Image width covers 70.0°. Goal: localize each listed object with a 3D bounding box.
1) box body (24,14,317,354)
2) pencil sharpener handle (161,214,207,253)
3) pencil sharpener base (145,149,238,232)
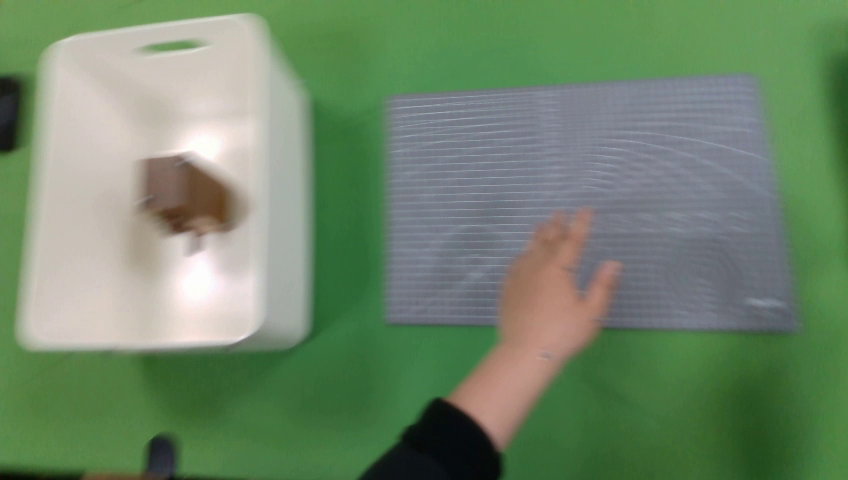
[{"bbox_3d":[-0.268,-0.050,0.705,0.254,0.161,0.362,-3,75,8],"label":"box body"},{"bbox_3d":[-0.276,-0.007,0.704,0.036,0.068,0.030,-5,75,17],"label":"pencil sharpener handle"},{"bbox_3d":[-0.277,-0.053,0.729,0.061,0.108,0.076,-2,75,9],"label":"pencil sharpener base"}]
